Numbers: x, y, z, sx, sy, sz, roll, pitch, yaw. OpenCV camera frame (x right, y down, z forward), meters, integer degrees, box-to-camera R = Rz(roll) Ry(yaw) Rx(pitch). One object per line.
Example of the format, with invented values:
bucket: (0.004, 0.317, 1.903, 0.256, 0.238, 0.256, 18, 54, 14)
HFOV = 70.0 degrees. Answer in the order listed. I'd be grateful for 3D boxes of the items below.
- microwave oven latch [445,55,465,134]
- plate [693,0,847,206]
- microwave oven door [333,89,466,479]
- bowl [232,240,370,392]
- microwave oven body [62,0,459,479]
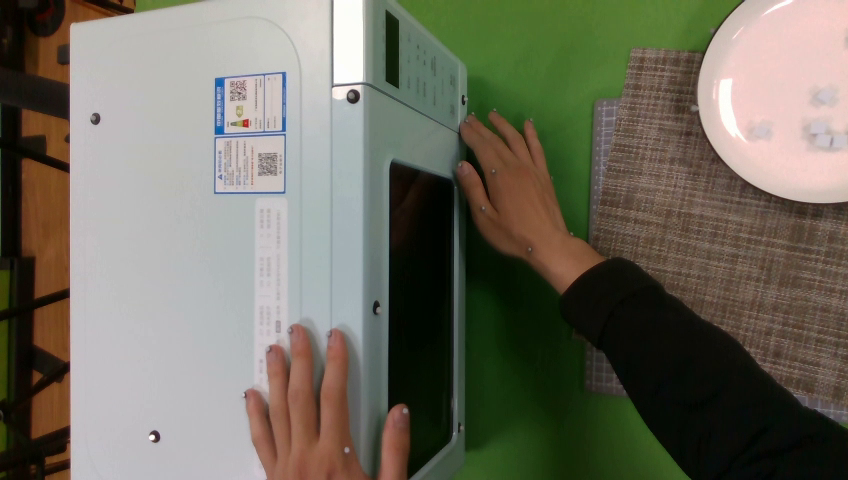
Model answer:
microwave oven latch: (0.028, -0.153, 0.641, 0.030, 0.029, 0.079, 1, 92, 21)
plate: (0.349, -0.132, 0.530, 0.208, 0.038, 0.209, 0, 89, 21)
microwave oven door: (-0.014, 0.066, 0.551, 0.039, 0.245, 0.355, 0, 91, 22)
bowl: (-0.113, 0.075, 0.628, 0.151, 0.077, 0.151, 0, 90, 21)
microwave oven body: (-0.148, 0.023, 0.608, 0.325, 0.261, 0.441, 1, 91, 21)
